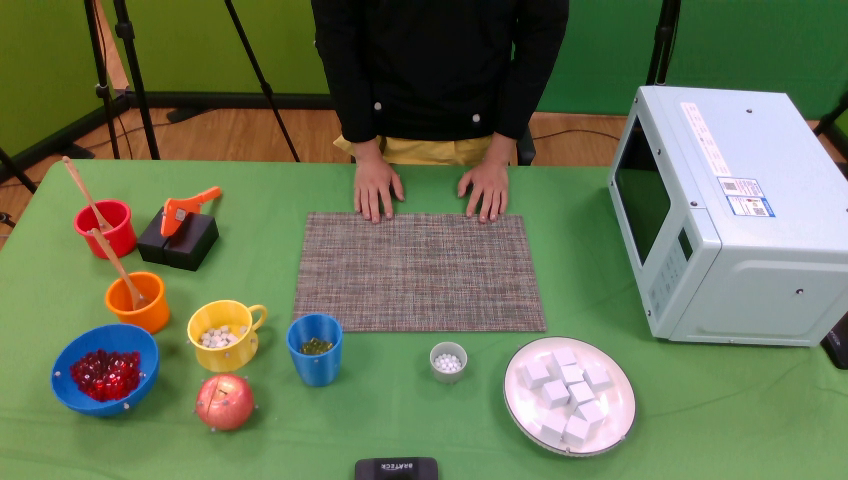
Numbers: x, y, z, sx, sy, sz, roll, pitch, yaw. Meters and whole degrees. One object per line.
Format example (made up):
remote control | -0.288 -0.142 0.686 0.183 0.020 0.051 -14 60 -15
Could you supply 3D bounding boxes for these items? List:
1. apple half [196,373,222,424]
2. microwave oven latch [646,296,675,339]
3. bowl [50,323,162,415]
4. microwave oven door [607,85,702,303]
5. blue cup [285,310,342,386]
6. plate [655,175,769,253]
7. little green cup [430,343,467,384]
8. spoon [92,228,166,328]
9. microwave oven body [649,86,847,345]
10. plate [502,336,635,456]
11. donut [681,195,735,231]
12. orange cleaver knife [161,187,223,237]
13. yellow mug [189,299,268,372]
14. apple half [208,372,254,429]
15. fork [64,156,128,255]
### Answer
apple half | -0.322 0.239 0.907 0.033 0.081 0.081 7 46 -1
microwave oven latch | 0.412 0.134 1.061 0.030 0.029 0.078 4 45 1
bowl | -0.472 0.209 0.924 0.151 0.077 0.150 3 45 -2
microwave oven door | 0.423 -0.094 1.140 0.039 0.245 0.353 2 46 -1
blue cup | -0.170 0.179 0.958 0.093 0.101 0.092 1 44 -1
plate | 0.555 -0.046 1.183 0.209 0.038 0.208 2 46 -1
little green cup | 0.039 0.203 0.994 0.061 0.039 0.061 2 46 -2
spoon | -0.495 0.063 1.014 0.041 0.194 0.021 -34 12 -31
microwave oven body | 0.568 -0.053 1.118 0.326 0.261 0.439 2 45 -1
plate | 0.225 0.248 0.963 0.208 0.039 0.206 2 46 -2
donut | 0.551 -0.054 1.177 0.099 0.048 0.098 1 36 0
orange cleaver knife | -0.448 -0.058 1.180 0.012 0.077 0.211 13 17 6
yellow mug | -0.316 0.148 1.002 0.131 0.064 0.099 -32 56 -31
apple half | -0.283 0.244 0.908 0.053 0.075 0.080 7 42 -1
fork | -0.614 -0.064 1.130 0.028 0.018 0.207 -30 97 -16
